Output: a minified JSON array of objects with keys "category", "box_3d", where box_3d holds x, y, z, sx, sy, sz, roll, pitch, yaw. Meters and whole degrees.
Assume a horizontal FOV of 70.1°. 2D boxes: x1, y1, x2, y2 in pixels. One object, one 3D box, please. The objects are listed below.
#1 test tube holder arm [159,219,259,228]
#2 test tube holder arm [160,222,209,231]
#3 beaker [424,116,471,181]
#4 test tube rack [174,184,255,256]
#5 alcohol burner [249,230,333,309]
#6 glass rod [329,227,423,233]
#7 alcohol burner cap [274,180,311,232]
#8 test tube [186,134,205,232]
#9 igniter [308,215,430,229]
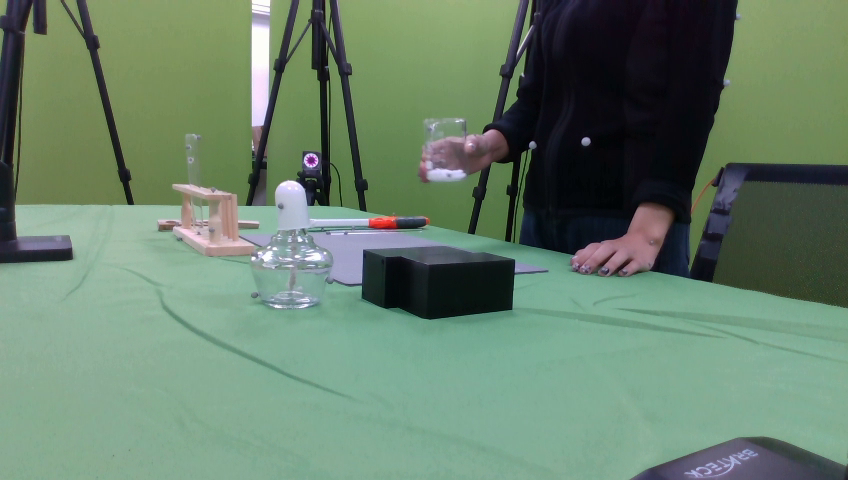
[{"category":"test tube holder arm","box_3d":[-0.390,-0.030,1.107,0.179,0.015,0.013,-3,44,-39]},{"category":"test tube holder arm","box_3d":[-0.423,-0.024,1.075,0.088,0.015,0.010,-3,44,-38]},{"category":"beaker","box_3d":[0.038,-0.150,0.995,0.074,0.100,0.083,-12,12,-41]},{"category":"test tube rack","box_3d":[-0.327,-0.036,0.928,0.067,0.085,0.241,-2,9,-32]},{"category":"alcohol burner","box_3d":[-0.125,0.004,0.568,0.078,0.119,0.078,2,10,0]},{"category":"glass rod","box_3d":[-0.087,-0.020,1.148,0.201,0.008,0.008,-3,8,-32]},{"category":"alcohol burner cap","box_3d":[-0.125,-0.032,0.564,0.034,0.048,0.034,-5,6,1]},{"category":"test tube","box_3d":[-0.350,-0.087,0.929,0.017,0.150,0.017,-3,5,1]},{"category":"igniter","box_3d":[-0.109,-0.037,1.228,0.278,0.025,0.057,-3,-1,-35]}]
